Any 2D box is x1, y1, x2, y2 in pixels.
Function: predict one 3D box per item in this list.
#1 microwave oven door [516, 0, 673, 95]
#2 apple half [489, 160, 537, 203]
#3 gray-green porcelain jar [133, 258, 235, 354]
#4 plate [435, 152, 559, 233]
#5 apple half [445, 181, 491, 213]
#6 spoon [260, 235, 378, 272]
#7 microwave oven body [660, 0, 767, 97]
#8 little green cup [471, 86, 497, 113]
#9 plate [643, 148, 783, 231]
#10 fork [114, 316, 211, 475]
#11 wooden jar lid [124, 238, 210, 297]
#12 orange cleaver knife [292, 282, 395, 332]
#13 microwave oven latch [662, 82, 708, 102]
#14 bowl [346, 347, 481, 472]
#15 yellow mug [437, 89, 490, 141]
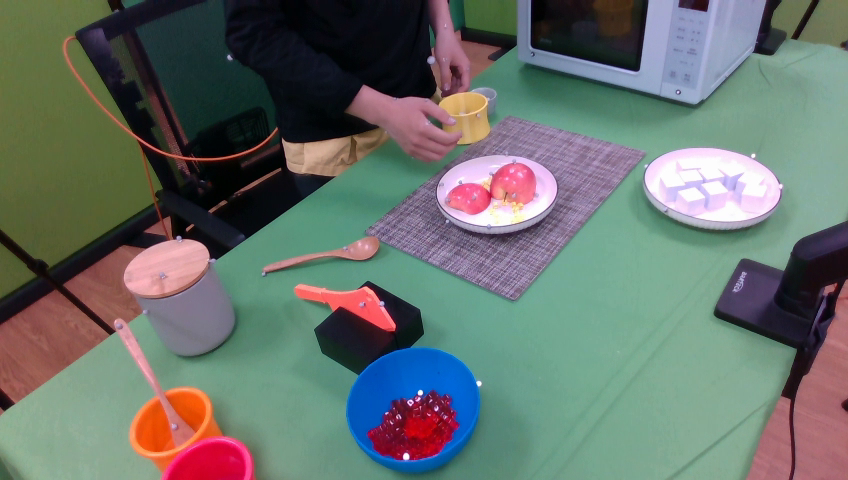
[{"bbox_3d":[0.344,-0.458,1.256,0.353,0.245,0.039,26,51,33],"label":"microwave oven door"},{"bbox_3d":[0.154,-0.106,1.030,0.080,0.053,0.075,22,46,31],"label":"apple half"},{"bbox_3d":[-0.328,0.086,0.836,0.106,0.127,0.105,-4,41,4],"label":"gray-green porcelain jar"},{"bbox_3d":[0.124,-0.078,1.026,0.209,0.038,0.208,-4,40,4],"label":"plate"},{"bbox_3d":[0.077,-0.083,1.029,0.081,0.033,0.081,-2,42,2],"label":"apple half"},{"bbox_3d":[-0.167,0.024,0.966,0.194,0.022,0.041,-10,57,-3],"label":"spoon"},{"bbox_3d":[0.473,-0.516,1.313,0.438,0.261,0.327,26,51,34],"label":"microwave oven body"},{"bbox_3d":[0.124,-0.298,1.284,0.061,0.039,0.061,-4,39,4],"label":"little green cup"},{"bbox_3d":[0.464,-0.080,0.986,0.207,0.039,0.206,-4,41,4],"label":"plate"},{"bbox_3d":[-0.309,0.180,0.708,0.028,0.018,0.207,-29,89,-24],"label":"fork"},{"bbox_3d":[-0.335,0.039,0.794,0.108,0.021,0.108,-2,40,2],"label":"wooden jar lid"},{"bbox_3d":[-0.116,0.091,0.835,0.209,0.077,0.012,2,32,48],"label":"orange cleaver knife"},{"bbox_3d":[0.517,-0.298,1.202,0.078,0.029,0.030,27,52,34],"label":"microwave oven latch"},{"bbox_3d":[-0.008,0.205,0.691,0.151,0.077,0.150,-4,40,4],"label":"bowl"},{"bbox_3d":[0.070,-0.258,1.224,0.100,0.064,0.129,-33,44,-25],"label":"yellow mug"}]
